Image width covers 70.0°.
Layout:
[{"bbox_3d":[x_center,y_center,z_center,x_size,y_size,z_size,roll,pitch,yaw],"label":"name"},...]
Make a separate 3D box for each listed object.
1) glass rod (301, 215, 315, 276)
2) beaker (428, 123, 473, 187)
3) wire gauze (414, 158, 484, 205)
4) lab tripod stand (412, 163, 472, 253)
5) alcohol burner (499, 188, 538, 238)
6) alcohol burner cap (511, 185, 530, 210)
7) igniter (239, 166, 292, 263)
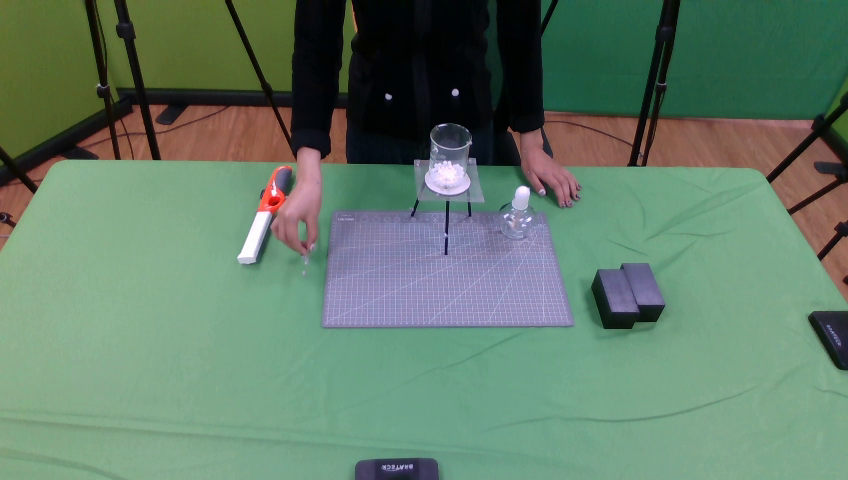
[{"bbox_3d":[-0.218,0.005,1.143,0.008,0.008,0.198,-1,34,-4],"label":"glass rod"},{"bbox_3d":[0.044,-0.154,1.109,0.074,0.101,0.083,-25,54,-25],"label":"beaker"},{"bbox_3d":[0.045,-0.113,1.137,0.125,0.011,0.120,2,48,-6],"label":"wire gauze"},{"bbox_3d":[0.043,-0.070,1.187,0.148,0.132,0.147,3,47,-3],"label":"lab tripod stand"},{"bbox_3d":[0.189,-0.060,1.202,0.078,0.120,0.077,1,48,-1],"label":"alcohol burner"},{"bbox_3d":[0.190,-0.085,1.176,0.034,0.048,0.033,3,51,-3],"label":"alcohol burner cap"},{"bbox_3d":[-0.318,-0.060,1.229,0.057,0.025,0.275,-2,45,10],"label":"igniter"}]
